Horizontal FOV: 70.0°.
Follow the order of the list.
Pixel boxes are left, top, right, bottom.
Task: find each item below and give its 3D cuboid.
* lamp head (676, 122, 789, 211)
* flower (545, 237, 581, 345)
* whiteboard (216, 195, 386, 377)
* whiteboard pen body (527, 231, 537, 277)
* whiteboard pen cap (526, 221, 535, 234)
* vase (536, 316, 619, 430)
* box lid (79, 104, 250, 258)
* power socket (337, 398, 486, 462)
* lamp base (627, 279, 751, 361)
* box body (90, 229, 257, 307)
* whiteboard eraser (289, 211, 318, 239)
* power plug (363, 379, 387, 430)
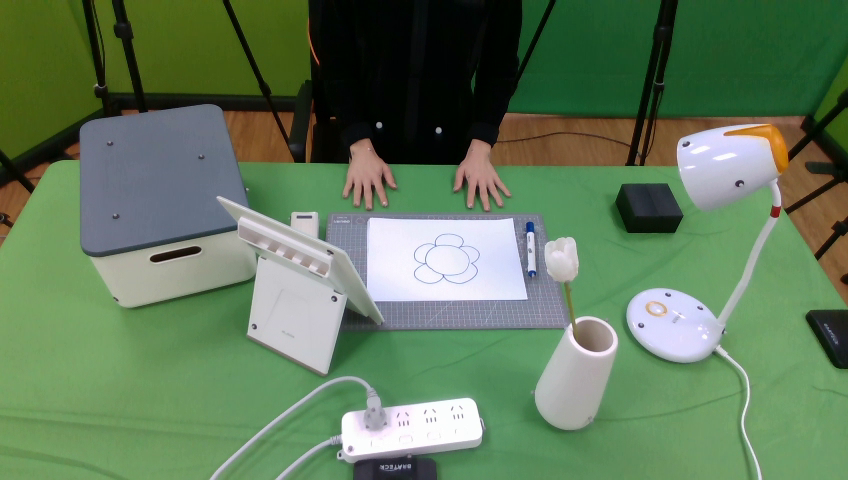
[{"bbox_3d":[0.423,-0.104,0.819,0.122,0.113,0.112,-13,33,40],"label":"lamp head"},{"bbox_3d":[0.213,0.137,0.846,0.038,0.364,0.044,21,55,40],"label":"flower"},{"bbox_3d":[-0.212,0.094,0.938,0.216,0.307,0.143,24,70,17],"label":"whiteboard"},{"bbox_3d":[0.211,0.018,1.191,0.017,0.017,0.140,6,44,2],"label":"whiteboard pen body"},{"bbox_3d":[0.216,-0.022,1.234,0.018,0.018,0.033,6,44,1],"label":"whiteboard pen cap"},{"bbox_3d":[0.229,0.200,0.901,0.098,0.201,0.097,3,46,-3],"label":"vase"},{"bbox_3d":[-0.467,-0.121,1.075,0.264,0.015,0.369,-13,49,-17],"label":"box lid"},{"bbox_3d":[-0.018,0.285,0.914,0.227,0.033,0.071,-4,46,-8],"label":"power socket"},{"bbox_3d":[0.460,0.100,1.027,0.178,0.181,0.160,27,51,17],"label":"lamp base"},{"bbox_3d":[-0.471,-0.070,1.131,0.254,0.161,0.361,-14,49,-17],"label":"box body"},{"bbox_3d":[-0.234,-0.007,1.172,0.055,0.042,0.112,-3,47,-5],"label":"whiteboard eraser"},{"bbox_3d":[-0.071,0.252,0.911,0.035,0.053,0.072,3,40,0],"label":"power plug"}]
